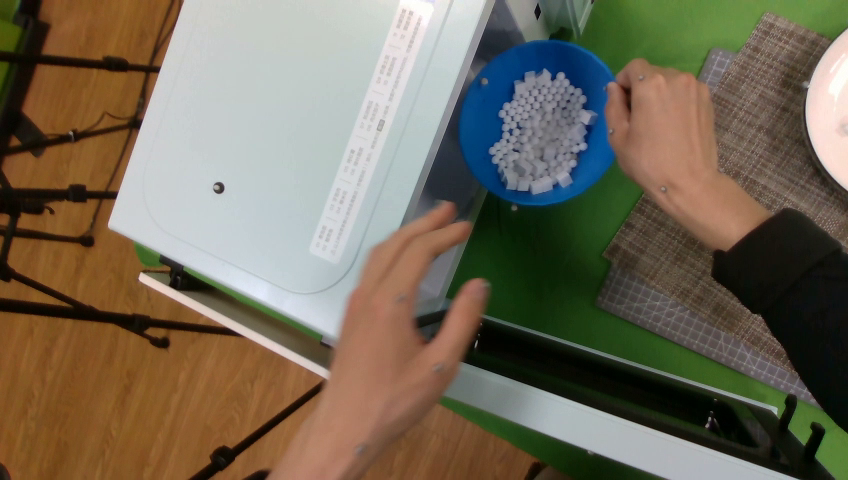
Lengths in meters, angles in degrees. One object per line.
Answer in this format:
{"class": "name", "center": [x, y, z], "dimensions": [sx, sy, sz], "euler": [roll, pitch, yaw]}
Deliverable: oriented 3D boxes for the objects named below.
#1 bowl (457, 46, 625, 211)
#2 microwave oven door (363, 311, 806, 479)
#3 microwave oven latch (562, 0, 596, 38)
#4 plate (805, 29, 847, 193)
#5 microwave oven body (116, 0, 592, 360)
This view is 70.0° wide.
{"class": "bowl", "center": [0.114, -0.100, 0.583], "dimensions": [0.151, 0.077, 0.151], "euler": [0, 90, 16]}
{"class": "microwave oven door", "center": [0.152, 0.138, 0.536], "dimensions": [0.354, 0.245, 0.039], "euler": [15, 93, 19]}
{"class": "microwave oven latch", "center": [0.170, -0.260, 0.645], "dimensions": [0.030, 0.029, 0.079], "euler": [23, 97, 17]}
{"class": "plate", "center": [0.467, -0.120, 0.558], "dimensions": [0.208, 0.038, 0.209], "euler": [-1, 87, 18]}
{"class": "microwave oven body", "center": [-0.054, -0.152, 0.616], "dimensions": [0.324, 0.261, 0.442], "euler": [22, 97, 17]}
